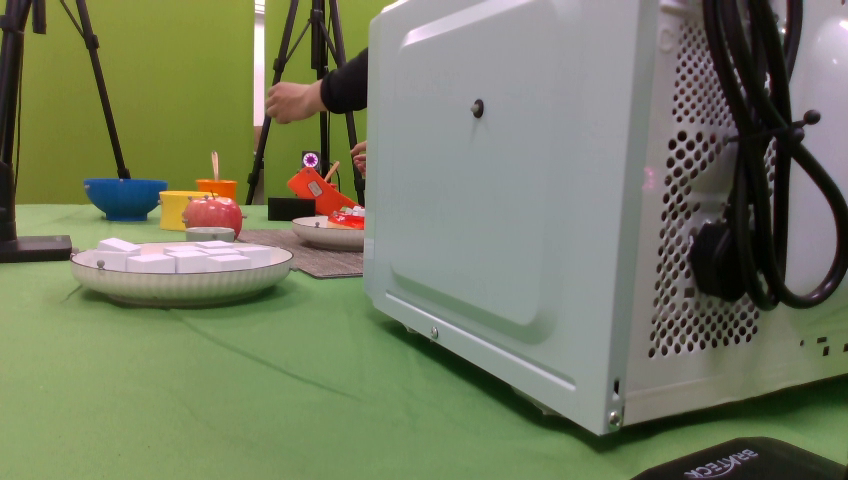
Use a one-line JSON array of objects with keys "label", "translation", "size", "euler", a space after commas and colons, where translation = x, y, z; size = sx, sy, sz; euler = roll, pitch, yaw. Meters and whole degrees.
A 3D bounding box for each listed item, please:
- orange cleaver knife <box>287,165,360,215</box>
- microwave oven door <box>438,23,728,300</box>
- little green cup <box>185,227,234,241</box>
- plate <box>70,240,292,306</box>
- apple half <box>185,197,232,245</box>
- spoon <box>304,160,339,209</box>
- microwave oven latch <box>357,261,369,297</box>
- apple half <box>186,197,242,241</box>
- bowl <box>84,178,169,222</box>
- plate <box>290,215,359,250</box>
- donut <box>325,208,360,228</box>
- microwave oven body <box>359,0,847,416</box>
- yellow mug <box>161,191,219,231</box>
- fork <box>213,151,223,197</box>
[{"label": "orange cleaver knife", "translation": [-0.211, -0.092, 1.382], "size": [0.212, 0.077, 0.012], "euler": [34, 2, -15]}, {"label": "microwave oven door", "translation": [0.181, -0.072, 0.621], "size": [0.358, 0.243, 0.039], "euler": [-2, 8, -29]}, {"label": "little green cup", "translation": [-0.285, 0.005, 0.805], "size": [0.061, 0.038, 0.061], "euler": [2, 8, 0]}, {"label": "plate", "translation": [-0.242, 0.032, 0.618], "size": [0.208, 0.039, 0.207], "euler": [2, 8, 0]}, {"label": "apple half", "translation": [-0.337, -0.031, 0.928], "size": [0.032, 0.081, 0.082], "euler": [13, 13, 37]}, {"label": "spoon", "translation": [-0.259, -0.146, 1.567], "size": [0.041, 0.022, 0.193], "euler": [4, 52, 22]}, {"label": "microwave oven latch", "translation": [-0.019, 0.033, 0.530], "size": [0.079, 0.029, 0.030], "euler": [-1, 7, -26]}, {"label": "apple half", "translation": [-0.307, -0.026, 0.905], "size": [0.053, 0.074, 0.081], "euler": [14, 9, 37]}, {"label": "bowl", "translation": [-0.584, -0.078, 1.194], "size": [0.151, 0.077, 0.151], "euler": [3, 8, 0]}, {"label": "plate", "translation": [-0.110, -0.014, 0.974], "size": [0.209, 0.038, 0.209], "euler": [3, 8, 0]}, {"label": "donut", "translation": [-0.110, -0.025, 0.974], "size": [0.099, 0.048, 0.099], "euler": [5, 8, 0]}, {"label": "microwave oven body", "translation": [0.211, -0.047, 0.474], "size": [0.444, 0.260, 0.324], "euler": [-1, 7, -28]}, {"label": "yellow mug", "translation": [-0.416, -0.053, 1.103], "size": [0.130, 0.064, 0.100], "euler": [7, 8, 27]}, {"label": "fork", "translation": [-0.494, -0.143, 1.442], "size": [0.028, 0.018, 0.206], "euler": [-3, 52, -19]}]
